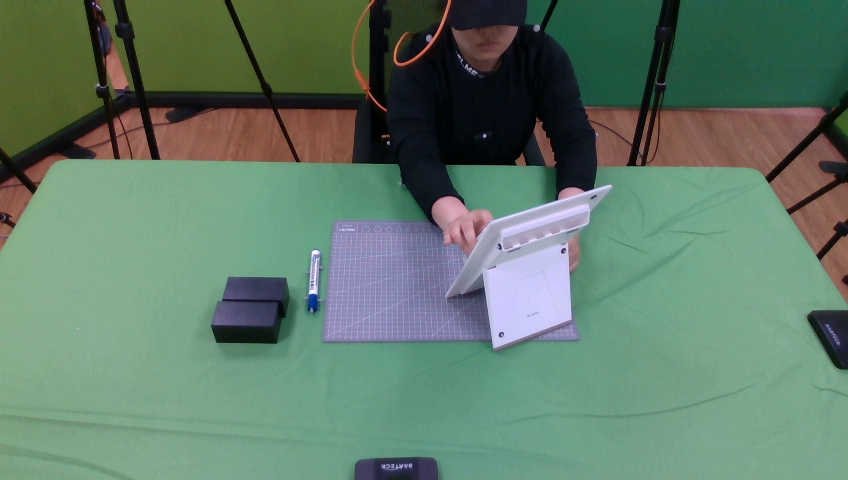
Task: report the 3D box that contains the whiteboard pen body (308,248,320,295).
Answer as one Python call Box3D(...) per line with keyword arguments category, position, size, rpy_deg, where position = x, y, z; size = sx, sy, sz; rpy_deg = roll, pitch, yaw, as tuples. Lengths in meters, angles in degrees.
Box3D(category="whiteboard pen body", position=(-0.204, 0.069, 1.119), size=(0.017, 0.017, 0.140), rpy_deg=(-1, 46, -5))

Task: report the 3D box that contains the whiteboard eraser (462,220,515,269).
Box3D(category="whiteboard eraser", position=(0.108, 0.011, 1.012), size=(0.056, 0.113, 0.041), rpy_deg=(-15, 68, -23))

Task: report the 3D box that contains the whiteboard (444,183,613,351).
Box3D(category="whiteboard", position=(0.186, 0.065, 0.990), size=(0.217, 0.306, 0.143), rpy_deg=(-16, 69, -19))

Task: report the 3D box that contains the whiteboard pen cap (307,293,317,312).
Box3D(category="whiteboard pen cap", position=(-0.199, 0.110, 1.078), size=(0.018, 0.018, 0.033), rpy_deg=(-2, 47, -6))
